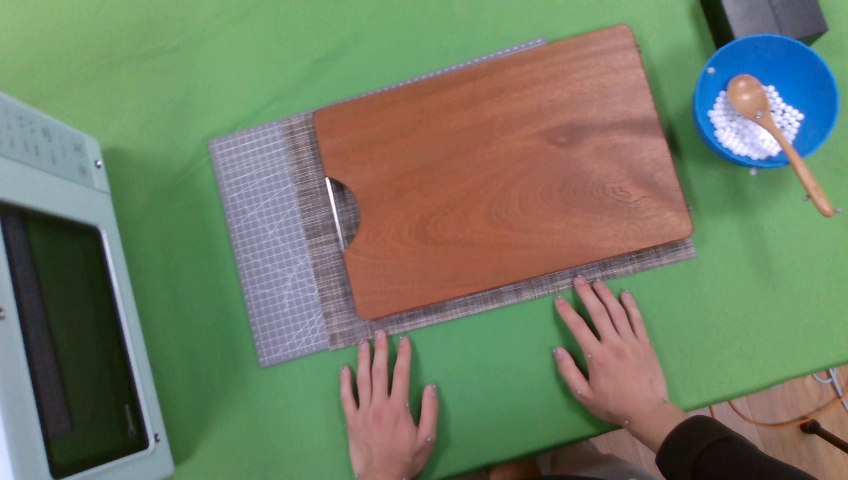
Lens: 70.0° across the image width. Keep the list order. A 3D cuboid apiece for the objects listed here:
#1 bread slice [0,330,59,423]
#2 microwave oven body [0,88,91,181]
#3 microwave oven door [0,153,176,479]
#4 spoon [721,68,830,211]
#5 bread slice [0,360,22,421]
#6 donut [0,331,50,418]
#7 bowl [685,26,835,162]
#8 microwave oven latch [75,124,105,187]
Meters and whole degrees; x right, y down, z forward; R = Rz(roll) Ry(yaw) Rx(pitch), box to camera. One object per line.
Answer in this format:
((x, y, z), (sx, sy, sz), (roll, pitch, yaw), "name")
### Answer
((-0.499, 0.165, 0.703), (0.132, 0.019, 0.105), (-7, 90, -5), "bread slice")
((-0.526, 0.097, 0.648), (0.326, 0.261, 0.440), (-18, 82, 3), "microwave oven body")
((-0.375, 0.091, 0.630), (0.039, 0.244, 0.354), (-19, 82, 3), "microwave oven door")
((0.377, -0.112, 0.651), (0.041, 0.022, 0.191), (-16, 59, 1), "spoon")
((-0.480, 0.157, 0.623), (0.134, 0.018, 0.106), (-33, 84, 15), "bread slice")
((-0.471, 0.149, 0.672), (0.099, 0.048, 0.099), (-1, 98, -10), "donut")
((0.366, -0.154, 0.688), (0.151, 0.077, 0.151), (-1, 84, 6), "bowl")
((-0.428, -0.103, 0.760), (0.030, 0.029, 0.079), (-18, 83, 3), "microwave oven latch")
